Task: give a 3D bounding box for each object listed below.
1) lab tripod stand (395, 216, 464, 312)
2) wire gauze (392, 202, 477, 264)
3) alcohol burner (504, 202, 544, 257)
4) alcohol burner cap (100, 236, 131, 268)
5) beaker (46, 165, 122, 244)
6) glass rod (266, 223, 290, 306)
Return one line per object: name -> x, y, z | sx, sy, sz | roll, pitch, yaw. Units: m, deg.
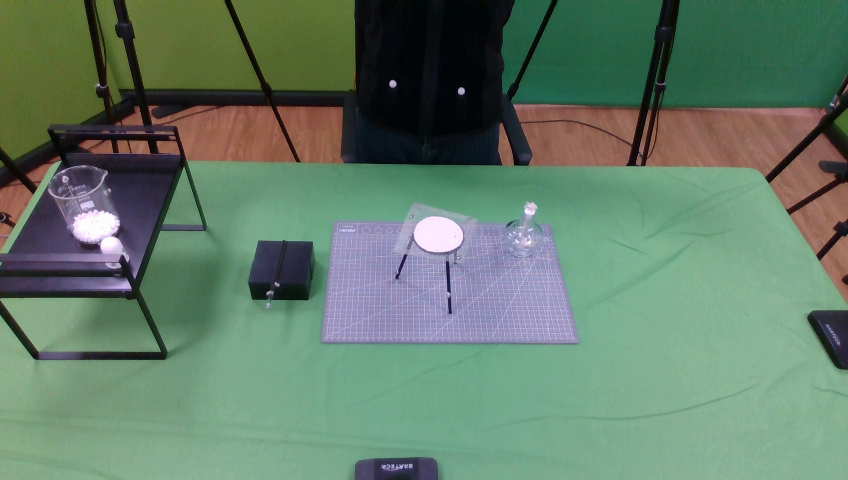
lab tripod stand -> 0.023, 0.036, 1.084 | 0.148, 0.132, 0.147 | 4, 46, -4
wire gauze -> 0.021, -0.011, 1.036 | 0.121, 0.011, 0.124 | 14, 47, 8
alcohol burner -> 0.195, -0.025, 1.170 | 0.078, 0.120, 0.077 | 2, 44, -2
alcohol burner cap -> -0.452, 0.016, 0.883 | 0.034, 0.048, 0.033 | 1, 48, -1
beaker -> -0.499, -0.051, 0.905 | 0.073, 0.101, 0.084 | 35, 53, 26
glass rod -> -0.260, 0.039, 1.083 | 0.008, 0.008, 0.198 | 3, 46, -1
